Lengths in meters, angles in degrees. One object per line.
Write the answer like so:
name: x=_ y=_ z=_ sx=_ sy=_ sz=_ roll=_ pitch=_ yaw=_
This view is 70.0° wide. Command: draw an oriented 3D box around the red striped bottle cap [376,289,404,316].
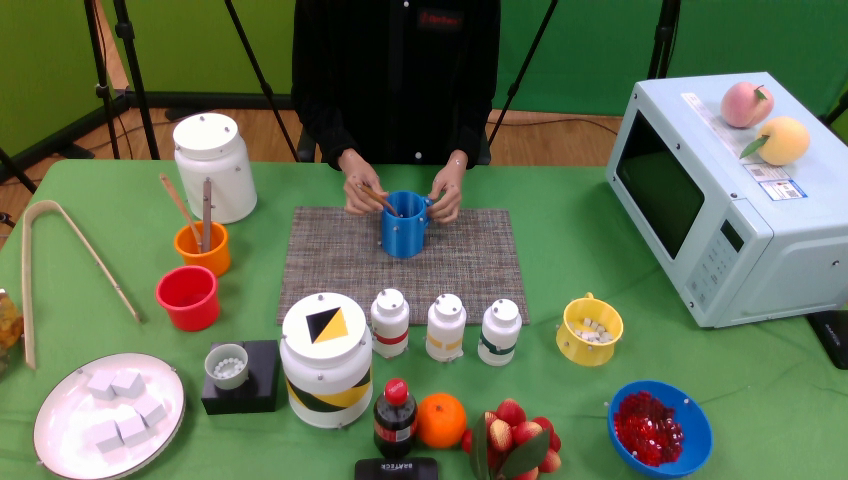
red striped bottle cap: x=-0.055 y=0.098 z=0.958 sx=0.044 sy=0.018 sz=0.044 roll=0 pitch=48 yaw=0

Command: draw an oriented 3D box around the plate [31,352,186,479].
plate: x=-0.459 y=0.262 z=0.898 sx=0.209 sy=0.038 sz=0.208 roll=2 pitch=46 yaw=-2

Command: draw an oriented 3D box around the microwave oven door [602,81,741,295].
microwave oven door: x=0.456 y=-0.107 z=1.162 sx=0.039 sy=0.245 sz=0.353 roll=-7 pitch=47 yaw=-11

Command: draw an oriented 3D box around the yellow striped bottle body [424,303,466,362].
yellow striped bottle body: x=0.035 y=0.143 z=0.995 sx=0.063 sy=0.121 sz=0.062 roll=3 pitch=46 yaw=-3

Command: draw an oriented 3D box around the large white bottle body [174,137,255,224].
large white bottle body: x=-0.408 y=-0.136 z=1.183 sx=0.131 sy=0.185 sz=0.130 roll=2 pitch=46 yaw=-2

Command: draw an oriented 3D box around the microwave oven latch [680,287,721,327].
microwave oven latch: x=0.494 y=0.120 z=1.087 sx=0.030 sy=0.029 sz=0.078 roll=-7 pitch=46 yaw=-10

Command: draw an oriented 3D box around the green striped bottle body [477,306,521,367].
green striped bottle body: x=0.124 y=0.151 z=0.995 sx=0.063 sy=0.120 sz=0.063 roll=2 pitch=46 yaw=-2

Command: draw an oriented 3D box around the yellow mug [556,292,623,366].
yellow mug: x=0.285 y=0.145 z=1.051 sx=0.100 sy=0.064 sz=0.130 roll=7 pitch=45 yaw=3

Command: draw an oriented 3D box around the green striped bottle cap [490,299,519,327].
green striped bottle cap: x=0.127 y=0.115 z=0.958 sx=0.044 sy=0.020 sz=0.044 roll=2 pitch=47 yaw=-2

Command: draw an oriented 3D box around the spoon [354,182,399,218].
spoon: x=-0.068 y=-0.059 z=1.125 sx=0.021 sy=0.195 sz=0.041 roll=-35 pitch=48 yaw=10

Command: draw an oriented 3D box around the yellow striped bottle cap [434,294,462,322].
yellow striped bottle cap: x=0.037 y=0.107 z=0.958 sx=0.044 sy=0.019 sz=0.044 roll=2 pitch=45 yaw=-2

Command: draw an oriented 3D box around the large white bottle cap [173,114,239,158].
large white bottle cap: x=-0.403 y=-0.195 z=1.122 sx=0.115 sy=0.018 sz=0.114 roll=2 pitch=47 yaw=-2

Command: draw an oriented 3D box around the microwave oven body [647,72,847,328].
microwave oven body: x=0.607 y=-0.089 z=1.164 sx=0.326 sy=0.261 sz=0.438 roll=-7 pitch=46 yaw=-10

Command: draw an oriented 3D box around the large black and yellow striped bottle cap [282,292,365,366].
large black and yellow striped bottle cap: x=-0.138 y=0.121 z=0.841 sx=0.115 sy=0.019 sz=0.114 roll=3 pitch=47 yaw=-3

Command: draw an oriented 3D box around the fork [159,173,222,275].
fork: x=-0.427 y=-0.029 z=1.103 sx=0.028 sy=0.018 sz=0.207 roll=-31 pitch=99 yaw=-30

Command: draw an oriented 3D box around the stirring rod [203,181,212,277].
stirring rod: x=-0.396 y=-0.021 z=1.108 sx=0.014 sy=0.006 sz=0.176 roll=-1 pitch=89 yaw=-1

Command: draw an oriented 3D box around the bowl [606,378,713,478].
bowl: x=0.340 y=0.292 z=0.906 sx=0.151 sy=0.077 sz=0.150 roll=2 pitch=46 yaw=-2

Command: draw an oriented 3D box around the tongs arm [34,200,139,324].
tongs arm: x=-0.622 y=0.034 z=1.105 sx=0.051 sy=0.026 sz=0.382 roll=-32 pitch=55 yaw=-26

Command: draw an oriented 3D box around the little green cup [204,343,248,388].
little green cup: x=-0.294 y=0.190 z=0.909 sx=0.061 sy=0.039 sz=0.061 roll=1 pitch=48 yaw=-1

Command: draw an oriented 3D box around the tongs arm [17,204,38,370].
tongs arm: x=-0.698 y=0.069 z=1.068 sx=0.028 sy=0.028 sz=0.385 roll=-20 pitch=50 yaw=-13

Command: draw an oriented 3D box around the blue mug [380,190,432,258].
blue mug: x=-0.030 y=-0.037 z=1.169 sx=0.116 sy=0.106 sz=0.082 roll=-28 pitch=55 yaw=-28

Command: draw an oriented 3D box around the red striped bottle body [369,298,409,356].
red striped bottle body: x=-0.058 y=0.134 z=0.997 sx=0.063 sy=0.120 sz=0.062 roll=4 pitch=47 yaw=-4

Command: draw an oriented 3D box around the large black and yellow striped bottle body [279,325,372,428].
large black and yellow striped bottle body: x=-0.143 y=0.181 z=0.900 sx=0.131 sy=0.185 sz=0.130 roll=2 pitch=46 yaw=-2
